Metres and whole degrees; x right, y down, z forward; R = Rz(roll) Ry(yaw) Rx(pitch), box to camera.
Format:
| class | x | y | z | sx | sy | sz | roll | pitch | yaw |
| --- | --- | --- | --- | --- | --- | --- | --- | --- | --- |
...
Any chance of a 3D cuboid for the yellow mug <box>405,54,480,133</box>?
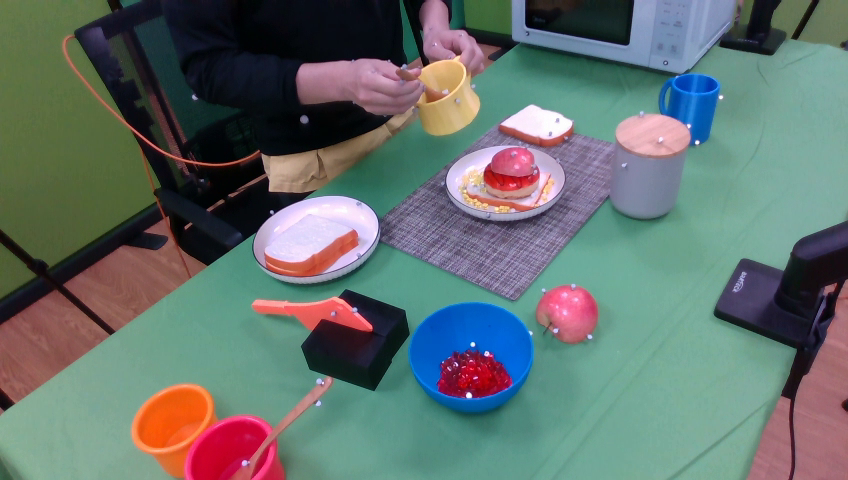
| class | x | y | z | sx | sy | sz | roll | pitch | yaw |
| --- | --- | --- | --- | --- | --- | --- | --- | --- | --- |
| yellow mug | 0.037 | -0.236 | 0.939 | 0.099 | 0.064 | 0.131 | 17 | 63 | 36 |

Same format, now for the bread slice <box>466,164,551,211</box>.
| class | x | y | z | sx | sy | sz | roll | pitch | yaw |
| --- | --- | --- | --- | --- | --- | --- | --- | --- | --- |
| bread slice | 0.140 | -0.092 | 1.042 | 0.133 | 0.018 | 0.107 | 11 | 43 | 19 |

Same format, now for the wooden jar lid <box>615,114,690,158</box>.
| class | x | y | z | sx | sy | sz | roll | pitch | yaw |
| --- | --- | --- | --- | --- | --- | --- | --- | --- | --- |
| wooden jar lid | 0.347 | -0.155 | 0.923 | 0.108 | 0.021 | 0.108 | -3 | 44 | 4 |

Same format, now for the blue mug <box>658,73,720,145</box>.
| class | x | y | z | sx | sy | sz | roll | pitch | yaw |
| --- | --- | --- | --- | --- | --- | --- | --- | --- | --- |
| blue mug | 0.483 | -0.250 | 1.127 | 0.082 | 0.106 | 0.115 | -26 | 44 | -20 |

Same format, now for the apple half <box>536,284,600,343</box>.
| class | x | y | z | sx | sy | sz | roll | pitch | yaw |
| --- | --- | --- | --- | --- | --- | --- | --- | --- | --- |
| apple half | 0.196 | 0.091 | 0.815 | 0.075 | 0.053 | 0.080 | -22 | 42 | -20 |

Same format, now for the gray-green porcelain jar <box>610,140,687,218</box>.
| class | x | y | z | sx | sy | sz | roll | pitch | yaw |
| --- | --- | --- | --- | --- | --- | --- | --- | --- | --- |
| gray-green porcelain jar | 0.354 | -0.106 | 0.964 | 0.106 | 0.127 | 0.105 | -4 | 41 | 4 |

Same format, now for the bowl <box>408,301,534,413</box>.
| class | x | y | z | sx | sy | sz | roll | pitch | yaw |
| --- | --- | --- | --- | --- | --- | --- | --- | --- | --- |
| bowl | 0.059 | 0.156 | 0.739 | 0.151 | 0.077 | 0.150 | -4 | 40 | 4 |

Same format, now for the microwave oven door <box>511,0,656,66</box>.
| class | x | y | z | sx | sy | sz | roll | pitch | yaw |
| --- | --- | --- | --- | --- | --- | --- | --- | --- | --- |
| microwave oven door | 0.350 | -0.539 | 1.348 | 0.353 | 0.245 | 0.039 | 24 | 50 | 31 |

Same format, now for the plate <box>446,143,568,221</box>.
| class | x | y | z | sx | sy | sz | roll | pitch | yaw |
| --- | --- | --- | --- | --- | --- | --- | --- | --- | --- |
| plate | 0.142 | -0.097 | 1.045 | 0.207 | 0.039 | 0.206 | -4 | 40 | 4 |

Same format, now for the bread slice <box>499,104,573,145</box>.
| class | x | y | z | sx | sy | sz | roll | pitch | yaw |
| --- | --- | --- | --- | --- | --- | --- | --- | --- | --- |
| bread slice | 0.231 | -0.231 | 1.205 | 0.105 | 0.019 | 0.130 | -37 | 47 | -28 |

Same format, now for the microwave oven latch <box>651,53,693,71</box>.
| class | x | y | z | sx | sy | sz | roll | pitch | yaw |
| --- | --- | --- | --- | --- | --- | --- | --- | --- | --- |
| microwave oven latch | 0.532 | -0.386 | 1.301 | 0.078 | 0.029 | 0.030 | 27 | 52 | 34 |

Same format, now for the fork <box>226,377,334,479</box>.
| class | x | y | z | sx | sy | sz | roll | pitch | yaw |
| --- | --- | --- | --- | --- | --- | --- | --- | --- | --- |
| fork | -0.163 | 0.216 | 0.647 | 0.207 | 0.019 | 0.028 | -49 | 41 | 16 |

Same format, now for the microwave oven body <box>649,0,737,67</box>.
| class | x | y | z | sx | sy | sz | roll | pitch | yaw |
| --- | --- | --- | --- | --- | --- | --- | --- | --- | --- |
| microwave oven body | 0.475 | -0.602 | 1.411 | 0.438 | 0.261 | 0.327 | 23 | 50 | 32 |

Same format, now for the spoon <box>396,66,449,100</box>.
| class | x | y | z | sx | sy | sz | roll | pitch | yaw |
| --- | --- | --- | --- | --- | --- | --- | --- | --- | --- |
| spoon | -0.001 | -0.222 | 0.867 | 0.041 | 0.195 | 0.021 | -20 | 81 | 20 |

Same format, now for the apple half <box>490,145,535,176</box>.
| class | x | y | z | sx | sy | sz | roll | pitch | yaw |
| --- | --- | --- | --- | --- | --- | --- | --- | --- | --- |
| apple half | 0.147 | -0.138 | 0.994 | 0.081 | 0.033 | 0.081 | 1 | 37 | -1 |

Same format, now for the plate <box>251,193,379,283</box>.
| class | x | y | z | sx | sy | sz | roll | pitch | yaw |
| --- | --- | --- | --- | --- | --- | --- | --- | --- | --- |
| plate | -0.174 | -0.001 | 0.984 | 0.209 | 0.038 | 0.208 | -4 | 41 | 4 |

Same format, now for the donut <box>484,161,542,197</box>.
| class | x | y | z | sx | sy | sz | roll | pitch | yaw |
| --- | --- | --- | --- | --- | --- | --- | --- | --- | --- |
| donut | 0.149 | -0.109 | 1.016 | 0.099 | 0.048 | 0.098 | -4 | 39 | 4 |

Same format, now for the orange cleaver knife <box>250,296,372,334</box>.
| class | x | y | z | sx | sy | sz | roll | pitch | yaw |
| --- | --- | --- | --- | --- | --- | --- | --- | --- | --- |
| orange cleaver knife | -0.159 | 0.103 | 0.828 | 0.210 | 0.078 | 0.012 | -4 | 43 | 39 |
